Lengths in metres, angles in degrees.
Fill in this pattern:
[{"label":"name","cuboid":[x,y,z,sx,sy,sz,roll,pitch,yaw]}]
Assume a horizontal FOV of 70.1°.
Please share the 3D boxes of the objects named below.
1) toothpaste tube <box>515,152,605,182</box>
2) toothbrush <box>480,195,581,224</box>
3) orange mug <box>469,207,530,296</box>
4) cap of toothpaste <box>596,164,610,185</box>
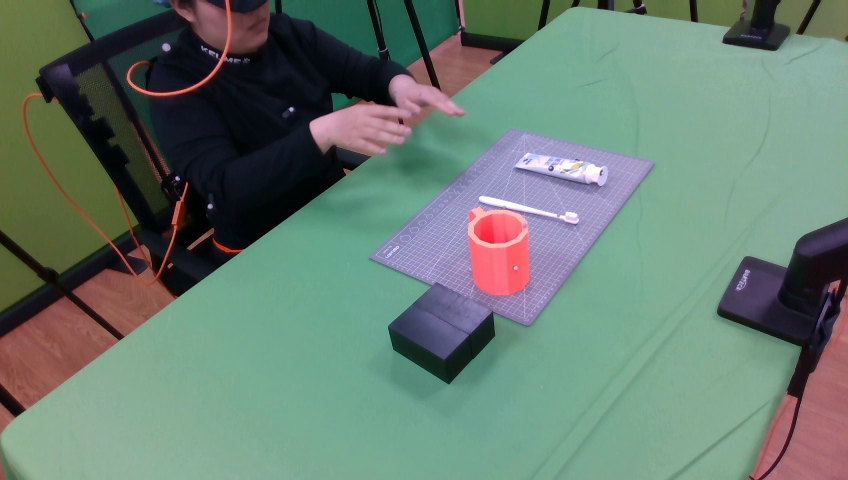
[{"label":"toothpaste tube","cuboid":[0.248,-0.133,1.087,0.164,0.034,0.055,17,42,34]},{"label":"toothbrush","cuboid":[0.175,-0.054,1.016,0.180,0.017,0.014,15,59,29]},{"label":"orange mug","cuboid":[0.104,0.008,0.893,0.084,0.101,0.125,-22,46,-14]},{"label":"cap of toothpaste","cuboid":[0.307,-0.113,1.041,0.011,0.037,0.037,20,48,39]}]
